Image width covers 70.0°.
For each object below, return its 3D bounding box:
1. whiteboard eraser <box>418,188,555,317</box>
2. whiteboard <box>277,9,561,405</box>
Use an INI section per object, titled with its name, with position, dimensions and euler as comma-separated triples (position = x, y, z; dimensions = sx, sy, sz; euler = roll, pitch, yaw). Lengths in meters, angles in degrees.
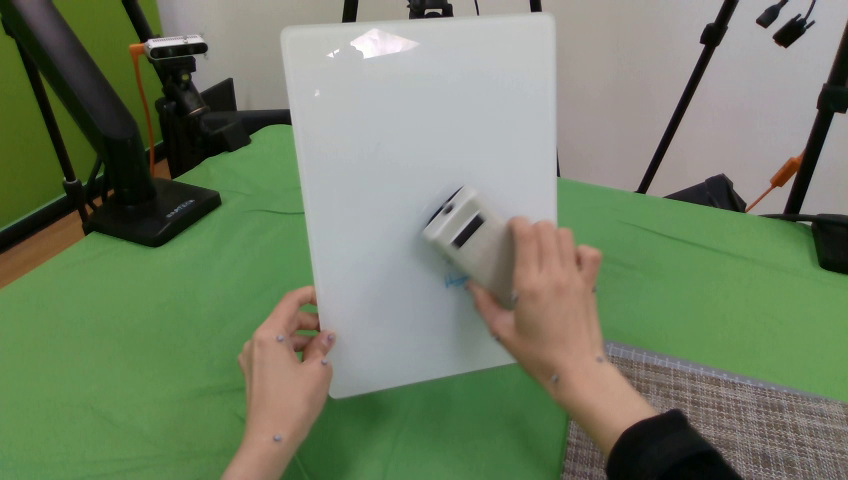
[whiteboard eraser]
position = 0.052, 0.011, 0.500
dimensions = 0.055, 0.113, 0.041
euler = -50, 22, 1
[whiteboard]
position = -0.005, -0.038, 0.561
dimensions = 0.218, 0.307, 0.143
euler = -8, 16, -12
